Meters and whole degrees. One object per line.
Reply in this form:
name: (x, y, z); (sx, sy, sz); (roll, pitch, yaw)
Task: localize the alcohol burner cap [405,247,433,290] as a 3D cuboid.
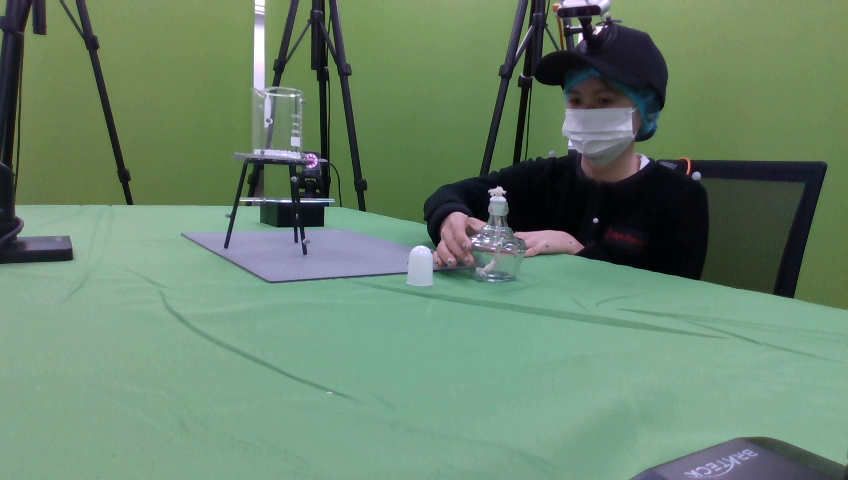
alcohol burner cap: (-0.005, 0.031, 0.698); (0.034, 0.048, 0.034); (3, 8, 0)

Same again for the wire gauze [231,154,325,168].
wire gauze: (-0.215, -0.117, 0.882); (0.125, 0.011, 0.121); (3, 7, -19)

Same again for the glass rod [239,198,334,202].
glass rod: (-0.277, -0.081, 1.232); (0.201, 0.008, 0.008); (-1, 8, -30)

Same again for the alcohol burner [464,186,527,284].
alcohol burner: (0.089, -0.007, 0.747); (0.078, 0.119, 0.078); (3, 9, 0)

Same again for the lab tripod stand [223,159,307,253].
lab tripod stand: (-0.220, -0.053, 0.896); (0.148, 0.131, 0.148); (1, 6, 0)

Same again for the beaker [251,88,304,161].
beaker: (-0.214, -0.165, 0.874); (0.074, 0.100, 0.084); (4, 6, 15)
